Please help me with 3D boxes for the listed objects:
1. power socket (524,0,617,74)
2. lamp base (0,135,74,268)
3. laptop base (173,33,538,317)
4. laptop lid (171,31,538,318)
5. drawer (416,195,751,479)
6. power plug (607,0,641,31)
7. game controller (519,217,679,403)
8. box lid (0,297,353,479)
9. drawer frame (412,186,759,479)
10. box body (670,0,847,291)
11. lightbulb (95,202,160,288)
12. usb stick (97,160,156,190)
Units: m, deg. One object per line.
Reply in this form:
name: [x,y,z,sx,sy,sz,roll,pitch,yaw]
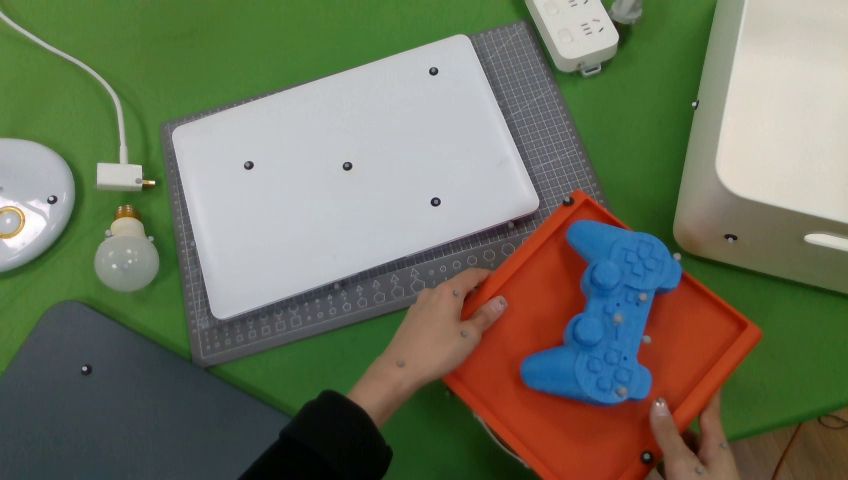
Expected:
power socket: [0.153,-0.294,0.710,0.072,0.033,0.225,-18,69,-3]
lamp base: [-0.486,-0.078,0.608,0.160,0.181,0.178,-44,69,-11]
laptop base: [-0.081,-0.078,0.660,0.354,0.023,0.234,-19,73,-2]
laptop lid: [-0.082,-0.080,0.648,0.357,0.013,0.240,-18,72,-2]
drawer: [0.135,0.098,0.535,0.193,0.074,0.211,42,80,18]
power plug: [0.239,-0.271,0.691,0.072,0.053,0.035,-36,66,-27]
game controller: [0.145,0.056,0.493,0.097,0.052,0.154,20,75,9]
box lid: [-0.279,0.233,0.569,0.370,0.015,0.262,24,74,12]
drawer frame: [0.134,0.096,0.535,0.200,0.083,0.213,41,79,18]
box body: [0.397,-0.143,0.566,0.253,0.161,0.362,15,72,10]
lightbulb: [-0.310,0.001,0.635,0.059,0.060,0.106,-19,54,-2]
usb stick: [-0.327,-0.071,0.666,0.059,0.021,0.027,5,71,-29]
